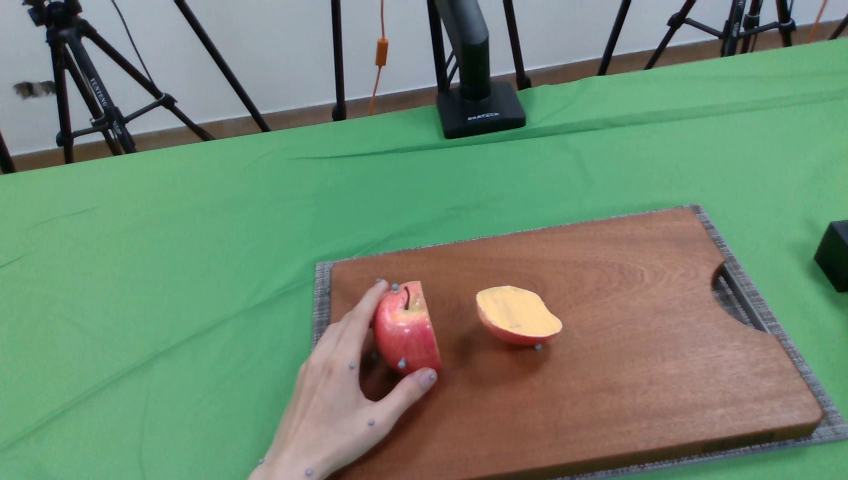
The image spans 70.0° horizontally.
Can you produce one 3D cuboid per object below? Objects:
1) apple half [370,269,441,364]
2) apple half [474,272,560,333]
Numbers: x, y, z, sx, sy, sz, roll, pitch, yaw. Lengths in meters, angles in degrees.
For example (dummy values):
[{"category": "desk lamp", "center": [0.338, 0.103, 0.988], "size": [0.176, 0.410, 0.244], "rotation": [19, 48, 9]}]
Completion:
[{"category": "apple half", "center": [-0.019, 0.073, 0.536], "size": [0.053, 0.075, 0.080], "rotation": [-17, 47, -2]}, {"category": "apple half", "center": [0.079, 0.063, 0.552], "size": [0.081, 0.033, 0.080], "rotation": [11, 29, -6]}]
